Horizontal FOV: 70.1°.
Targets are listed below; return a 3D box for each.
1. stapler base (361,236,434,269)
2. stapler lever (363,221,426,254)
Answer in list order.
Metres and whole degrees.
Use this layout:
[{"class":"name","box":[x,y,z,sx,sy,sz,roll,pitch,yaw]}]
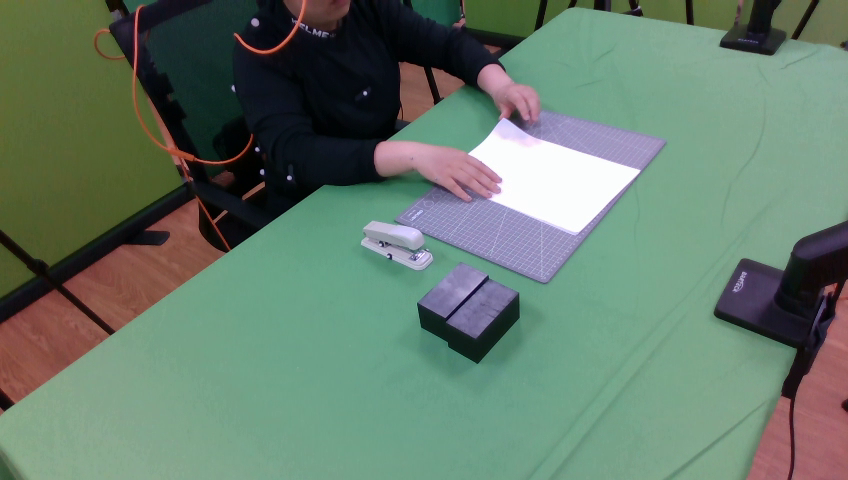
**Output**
[{"class":"stapler base","box":[-0.044,0.009,0.974,0.129,0.024,0.041,21,46,32]},{"class":"stapler lever","box":[-0.049,-0.011,0.958,0.117,0.040,0.027,21,46,32]}]
